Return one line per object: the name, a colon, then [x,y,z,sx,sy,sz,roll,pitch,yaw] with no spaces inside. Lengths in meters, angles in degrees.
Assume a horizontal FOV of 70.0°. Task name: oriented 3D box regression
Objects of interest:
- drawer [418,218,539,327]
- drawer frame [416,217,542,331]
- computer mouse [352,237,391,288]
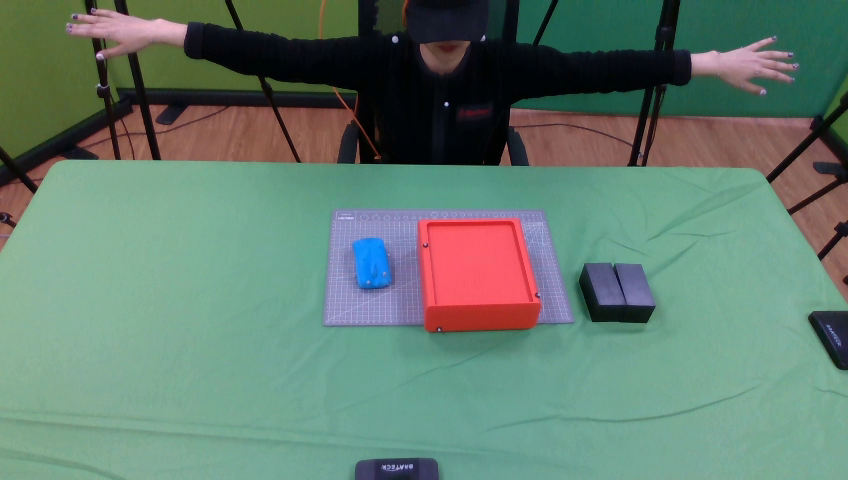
drawer: [0.092,0.055,1.108,0.195,0.073,0.210,0,47,-6]
drawer frame: [0.092,0.056,1.105,0.202,0.083,0.212,-1,47,-6]
computer mouse: [-0.100,0.039,1.139,0.063,0.041,0.116,-4,51,-11]
